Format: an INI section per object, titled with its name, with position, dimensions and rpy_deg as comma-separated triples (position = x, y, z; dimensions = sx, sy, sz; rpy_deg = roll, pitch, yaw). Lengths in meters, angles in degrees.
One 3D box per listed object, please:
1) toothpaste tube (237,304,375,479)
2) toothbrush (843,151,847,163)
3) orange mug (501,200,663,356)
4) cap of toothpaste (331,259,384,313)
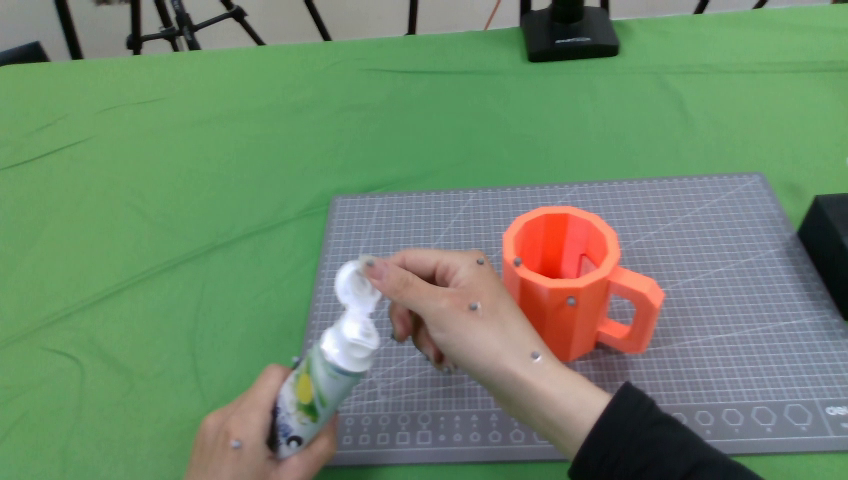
[toothpaste tube]
position = -0.081, 0.103, 0.394
dimensions = 0.035, 0.165, 0.054
rpy_deg = 10, 36, -44
[toothbrush]
position = 0.380, -0.018, 0.491
dimensions = 0.014, 0.017, 0.180
rpy_deg = 4, 48, 5
[orange mug]
position = 0.119, 0.036, 0.476
dimensions = 0.125, 0.102, 0.083
rpy_deg = 19, 52, 28
[cap of toothpaste]
position = -0.040, 0.028, 0.380
dimensions = 0.037, 0.011, 0.037
rpy_deg = 9, 73, -29
